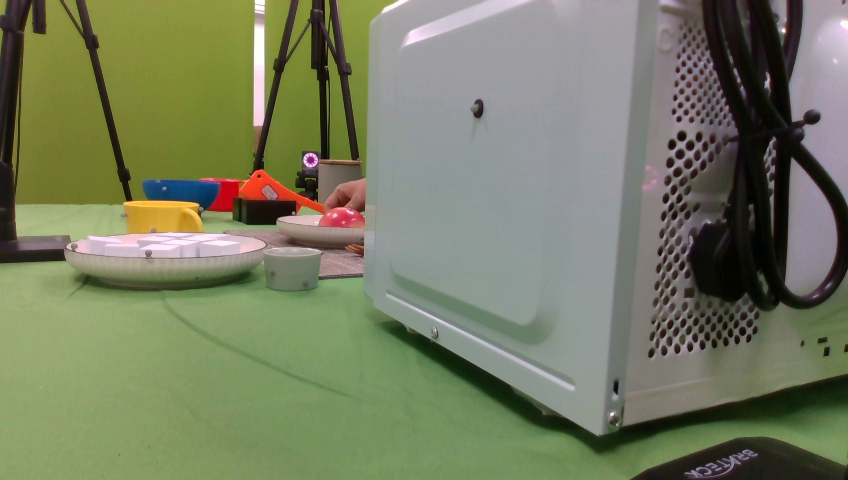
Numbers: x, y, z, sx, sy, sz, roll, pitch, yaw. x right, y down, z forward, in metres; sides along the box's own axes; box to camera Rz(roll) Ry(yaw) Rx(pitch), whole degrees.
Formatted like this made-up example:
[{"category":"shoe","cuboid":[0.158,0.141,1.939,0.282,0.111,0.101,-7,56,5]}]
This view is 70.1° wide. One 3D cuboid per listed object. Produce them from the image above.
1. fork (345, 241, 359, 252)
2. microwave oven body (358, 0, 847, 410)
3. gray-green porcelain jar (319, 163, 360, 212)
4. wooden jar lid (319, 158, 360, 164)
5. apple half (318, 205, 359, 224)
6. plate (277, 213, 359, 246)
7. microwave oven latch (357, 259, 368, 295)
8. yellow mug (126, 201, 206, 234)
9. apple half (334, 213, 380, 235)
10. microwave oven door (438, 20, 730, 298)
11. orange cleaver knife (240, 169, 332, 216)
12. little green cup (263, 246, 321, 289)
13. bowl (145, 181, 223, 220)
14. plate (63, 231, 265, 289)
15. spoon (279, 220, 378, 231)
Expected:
[{"category":"fork","cuboid":[-0.027,0.006,0.902,0.208,0.018,0.028,-5,-23,-43]},{"category":"microwave oven body","cuboid":[0.210,-0.051,0.471,0.444,0.260,0.324,-1,7,-28]},{"category":"gray-green porcelain jar","cuboid":[-0.204,-0.126,1.490,0.106,0.126,0.106,2,7,0]},{"category":"wooden jar lid","cuboid":[-0.203,-0.189,1.482,0.108,0.020,0.108,2,10,0]},{"category":"apple half","cuboid":[-0.126,-0.029,0.954,0.081,0.053,0.074,-2,11,-33]},{"category":"plate","cuboid":[-0.135,-0.018,0.994,0.209,0.038,0.209,2,7,0]},{"category":"microwave oven latch","cuboid":[-0.019,0.031,0.529,0.079,0.029,0.030,-1,7,-26]},{"category":"yellow mug","cuboid":[-0.360,-0.019,0.866,0.130,0.064,0.100,6,9,27]},{"category":"apple half","cuboid":[-0.112,-0.029,1.034,0.081,0.033,0.081,0,9,0]},{"category":"microwave oven door","cuboid":[0.181,-0.076,0.618,0.358,0.243,0.039,-2,8,-28]},{"category":"orange cleaver knife","cuboid":[-0.286,-0.082,1.298,0.212,0.077,0.012,25,-2,-31]},{"category":"little green cup","cuboid":[-0.142,0.029,0.649,0.061,0.038,0.061,3,7,0]},{"category":"bowl","cuboid":[-0.499,-0.081,1.261,0.151,0.077,0.151,2,7,0]},{"category":"plate","cuboid":[-0.288,0.021,0.687,0.208,0.039,0.207,2,8,0]},{"category":"spoon","cuboid":[-0.173,-0.030,1.127,0.195,0.021,0.041,-4,-7,-30]}]
